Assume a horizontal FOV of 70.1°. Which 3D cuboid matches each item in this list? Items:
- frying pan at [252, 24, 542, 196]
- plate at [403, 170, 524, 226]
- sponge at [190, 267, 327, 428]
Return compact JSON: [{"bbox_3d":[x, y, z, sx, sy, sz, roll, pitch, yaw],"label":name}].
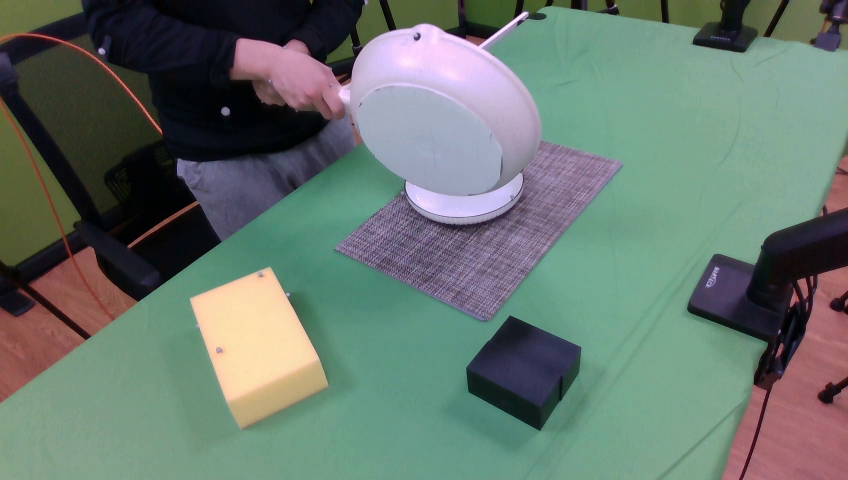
[{"bbox_3d":[-0.069,-0.197,0.907,0.485,0.308,0.103,22,63,24],"label":"frying pan"},{"bbox_3d":[0.069,-0.089,1.043,0.207,0.039,0.206,-4,40,4],"label":"plate"},{"bbox_3d":[-0.226,0.135,0.814,0.119,0.061,0.205,-23,43,-19],"label":"sponge"}]
